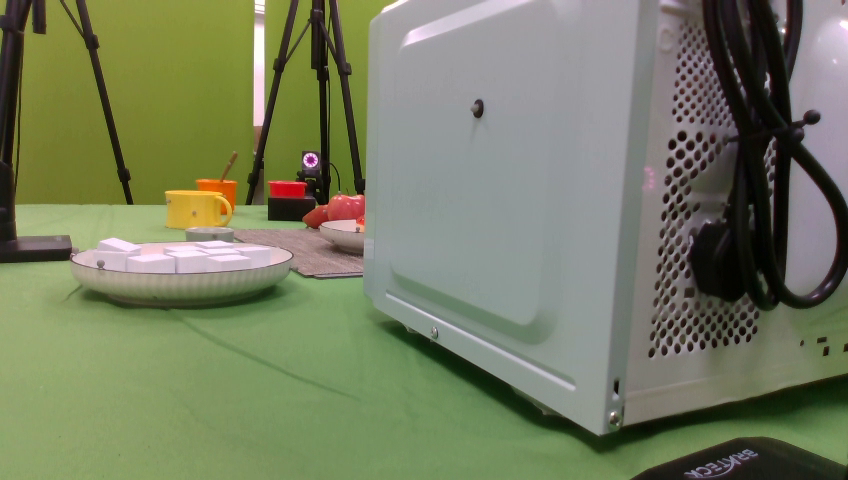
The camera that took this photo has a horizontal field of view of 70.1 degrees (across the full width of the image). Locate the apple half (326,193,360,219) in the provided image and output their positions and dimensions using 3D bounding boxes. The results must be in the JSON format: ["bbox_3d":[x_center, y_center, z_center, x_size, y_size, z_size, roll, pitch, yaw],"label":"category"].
[{"bbox_3d":[-0.135,-0.047,1.090,0.081,0.074,0.053,5,10,-12],"label":"apple half"}]

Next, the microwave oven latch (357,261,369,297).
[{"bbox_3d":[-0.019,0.033,0.531,0.079,0.029,0.030,-1,7,-27],"label":"microwave oven latch"}]

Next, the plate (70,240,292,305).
[{"bbox_3d":[-0.242,0.031,0.618,0.208,0.039,0.207,2,8,0],"label":"plate"}]

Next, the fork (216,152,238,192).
[{"bbox_3d":[-0.455,-0.132,1.367,0.028,0.018,0.207,-2,-35,-37],"label":"fork"}]

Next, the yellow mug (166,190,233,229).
[{"bbox_3d":[-0.415,-0.057,1.132,0.130,0.064,0.100,6,8,16],"label":"yellow mug"}]

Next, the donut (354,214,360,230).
[{"bbox_3d":[-0.062,-0.020,0.955,0.099,0.048,0.099,5,7,0],"label":"donut"}]

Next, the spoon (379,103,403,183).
[{"bbox_3d":[-0.068,-0.188,1.149,0.041,0.193,0.022,-30,-31,32],"label":"spoon"}]

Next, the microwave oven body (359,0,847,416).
[{"bbox_3d":[0.211,-0.047,0.474,0.444,0.260,0.324,-1,7,-28],"label":"microwave oven body"}]

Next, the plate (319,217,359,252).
[{"bbox_3d":[-0.059,-0.007,0.939,0.209,0.038,0.209,3,8,0],"label":"plate"}]

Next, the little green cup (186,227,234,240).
[{"bbox_3d":[-0.284,0.005,0.805,0.061,0.038,0.061,2,8,0],"label":"little green cup"}]

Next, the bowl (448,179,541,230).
[{"bbox_3d":[0.113,-0.058,0.981,0.151,0.077,0.151,0,8,0],"label":"bowl"}]

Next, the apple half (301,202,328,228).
[{"bbox_3d":[-0.194,-0.043,1.173,0.081,0.032,0.081,-22,-15,-6],"label":"apple half"}]

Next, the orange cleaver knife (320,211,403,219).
[{"bbox_3d":[-0.142,-0.057,1.394,0.077,0.012,0.212,3,7,44],"label":"orange cleaver knife"}]

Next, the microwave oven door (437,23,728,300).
[{"bbox_3d":[0.181,-0.072,0.621,0.358,0.243,0.039,-2,9,-29],"label":"microwave oven door"}]
